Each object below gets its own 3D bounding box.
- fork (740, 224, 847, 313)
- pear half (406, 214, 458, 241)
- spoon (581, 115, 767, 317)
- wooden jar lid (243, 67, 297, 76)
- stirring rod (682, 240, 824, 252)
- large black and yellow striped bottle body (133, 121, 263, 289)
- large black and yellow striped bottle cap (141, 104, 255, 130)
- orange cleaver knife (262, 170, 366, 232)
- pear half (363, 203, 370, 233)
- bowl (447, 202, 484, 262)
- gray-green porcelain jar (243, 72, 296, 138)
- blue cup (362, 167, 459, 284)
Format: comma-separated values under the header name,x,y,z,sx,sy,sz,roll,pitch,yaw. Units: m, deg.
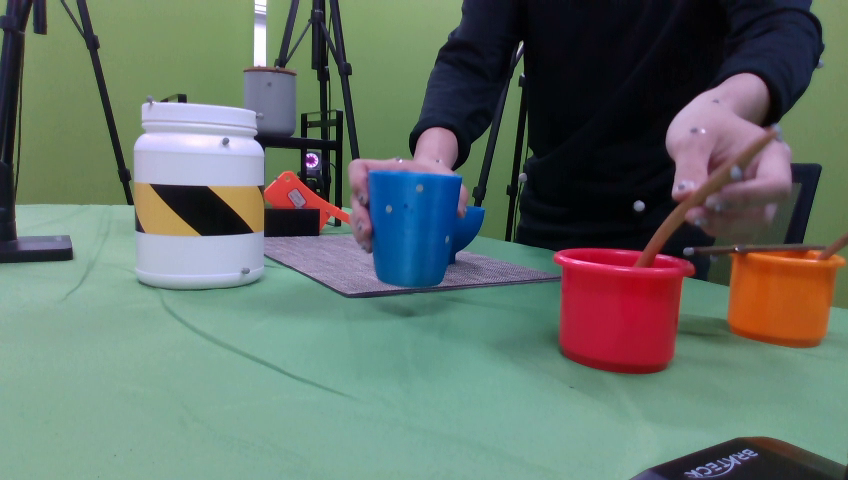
name,x,y,z,sx,sy,sz,roll,pitch,yaw
fork,0.323,0.013,0.485,0.028,0.018,0.207,9,-38,-5
pear half,0.007,-0.020,0.847,0.070,0.031,0.088,1,10,40
spoon,0.160,-0.006,0.406,0.042,0.193,0.021,-8,48,-31
wooden jar lid,-0.319,-0.342,1.254,0.108,0.020,0.108,3,8,0
stirring rod,0.290,0.005,0.524,0.177,0.006,0.014,-1,6,-26
large black and yellow striped bottle body,-0.243,-0.048,0.659,0.131,0.184,0.130,2,7,0
large black and yellow striped bottle cap,-0.241,-0.131,0.650,0.115,0.019,0.115,3,8,0
orange cleaver knife,-0.201,-0.056,1.136,0.212,0.077,0.012,31,-4,-31
pear half,-0.064,-0.061,1.077,0.055,0.110,0.077,9,14,39
bowl,0.008,-0.012,0.842,0.151,0.077,0.151,2,8,0
gray-green porcelain jar,-0.322,-0.279,1.263,0.106,0.126,0.106,3,8,0
blue cup,-0.012,-0.014,0.547,0.093,0.100,0.092,1,6,0
